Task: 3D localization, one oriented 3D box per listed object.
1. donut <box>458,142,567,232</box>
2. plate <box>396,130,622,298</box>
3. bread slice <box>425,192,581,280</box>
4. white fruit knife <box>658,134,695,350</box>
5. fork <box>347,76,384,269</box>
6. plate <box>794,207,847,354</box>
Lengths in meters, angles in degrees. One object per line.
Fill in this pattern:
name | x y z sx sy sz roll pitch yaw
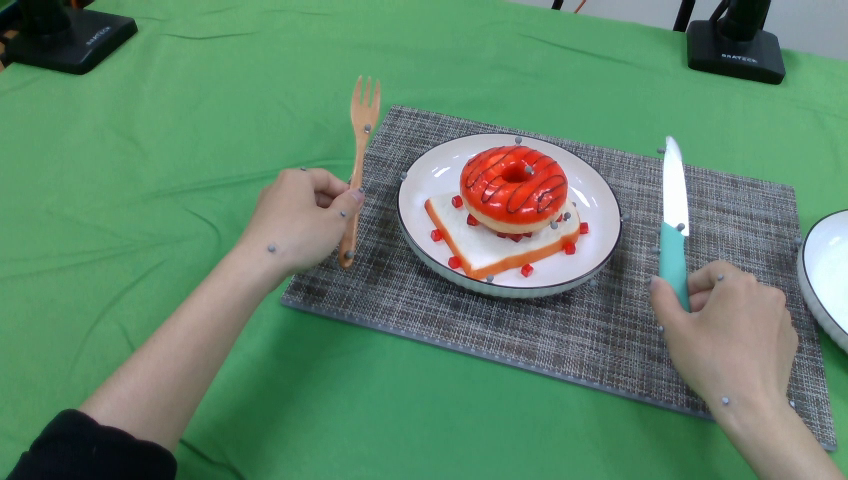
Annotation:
donut | 0.079 -0.049 0.545 0.099 0.048 0.098 2 48 -2
plate | 0.077 -0.026 0.572 0.209 0.038 0.207 2 48 -1
bread slice | 0.079 -0.021 0.571 0.132 0.019 0.103 -18 52 -18
white fruit knife | 0.213 -0.008 0.518 0.027 0.016 0.206 10 63 -2
fork | -0.055 -0.067 0.548 0.028 0.019 0.205 -14 55 28
plate | 0.426 0.055 0.525 0.208 0.039 0.205 2 48 -2
